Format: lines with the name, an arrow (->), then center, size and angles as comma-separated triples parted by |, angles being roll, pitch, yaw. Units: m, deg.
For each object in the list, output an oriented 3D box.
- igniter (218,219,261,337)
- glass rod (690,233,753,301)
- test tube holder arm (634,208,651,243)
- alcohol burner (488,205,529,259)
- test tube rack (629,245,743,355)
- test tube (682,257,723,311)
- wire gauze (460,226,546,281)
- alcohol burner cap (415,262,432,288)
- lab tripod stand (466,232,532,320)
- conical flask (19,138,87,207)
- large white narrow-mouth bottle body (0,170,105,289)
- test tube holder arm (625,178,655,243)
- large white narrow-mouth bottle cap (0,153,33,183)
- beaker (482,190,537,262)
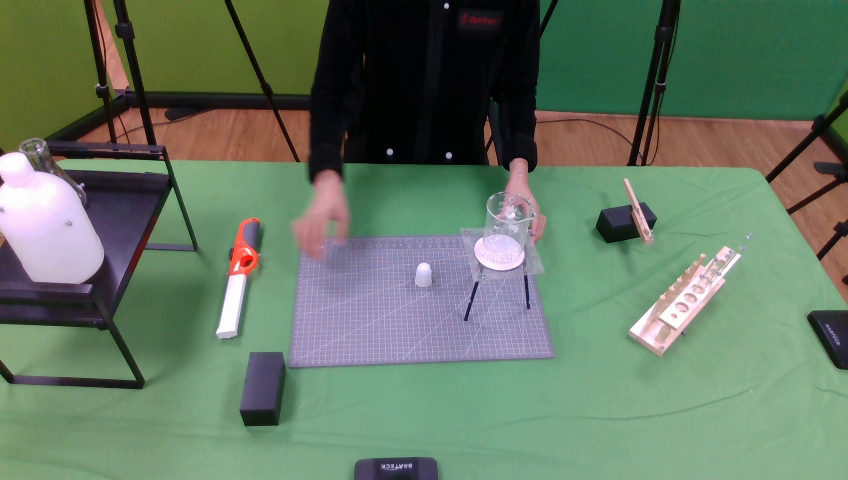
igniter -> -0.336, 0.059, 1.111 | 0.057, 0.025, 0.274 | -8, 46, 3
glass rod -> 0.507, 0.053, 1.041 | 0.008, 0.200, 0.008 | 5, 51, -6
test tube holder arm -> 0.428, -0.030, 1.189 | 0.010, 0.015, 0.087 | 1, 47, -2
alcohol burner -> 0.163, -0.020, 1.158 | 0.078, 0.120, 0.077 | 1, 47, 0
test tube rack -> 0.474, 0.095, 1.091 | 0.242, 0.085, 0.066 | -34, 56, -31
test tube -> 0.475, 0.080, 1.037 | 0.017, 0.151, 0.017 | 1, 51, -1
wire gauze -> 0.130, 0.017, 1.016 | 0.121, 0.011, 0.124 | -4, 43, -9
alcohol burner cap -> 0.000, 0.061, 1.119 | 0.034, 0.048, 0.033 | 3, 43, -3
lab tripod stand -> 0.125, 0.059, 1.065 | 0.148, 0.132, 0.147 | 1, 45, 0
conical flask -> -0.576, -0.097, 0.930 | 0.075, 0.122, 0.075 | 2, 46, -2
large white narrow-mouth bottle body -> -0.513, -0.029, 0.818 | 0.102, 0.195, 0.101 | 2, 46, -2
test tube holder arm -> 0.433, -0.062, 1.220 | 0.013, 0.015, 0.177 | 0, 47, -3
large white narrow-mouth bottle cap -> -0.510, -0.090, 0.754 | 0.038, 0.024, 0.037 | 2, 46, -2
beaker -> 0.136, -0.019, 0.983 | 0.084, 0.101, 0.073 | 17, 47, 14
